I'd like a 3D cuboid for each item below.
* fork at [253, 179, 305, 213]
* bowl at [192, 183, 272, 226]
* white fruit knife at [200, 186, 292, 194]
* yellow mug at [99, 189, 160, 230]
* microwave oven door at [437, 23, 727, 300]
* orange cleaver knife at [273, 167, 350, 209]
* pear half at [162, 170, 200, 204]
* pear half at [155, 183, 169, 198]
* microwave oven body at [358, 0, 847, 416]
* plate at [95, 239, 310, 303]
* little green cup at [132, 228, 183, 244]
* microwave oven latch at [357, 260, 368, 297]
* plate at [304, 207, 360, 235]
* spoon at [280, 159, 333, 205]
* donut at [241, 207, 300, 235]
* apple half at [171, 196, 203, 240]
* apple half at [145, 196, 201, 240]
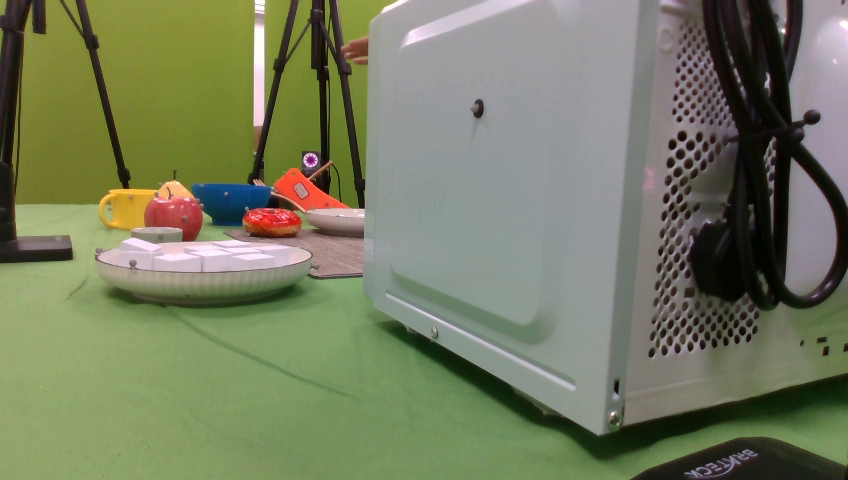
[{"bbox_3d":[-0.294,-0.084,1.293,0.206,0.018,0.028,29,12,26],"label":"fork"},{"bbox_3d":[-0.381,-0.070,1.202,0.151,0.077,0.151,3,7,0],"label":"bowl"},{"bbox_3d":[-0.399,-0.111,1.368,0.208,0.016,0.027,-4,-19,-29],"label":"white fruit knife"},{"bbox_3d":[-0.518,-0.055,1.080,0.099,0.064,0.131,7,10,26],"label":"yellow mug"},{"bbox_3d":[0.181,-0.072,0.621,0.358,0.243,0.039,-2,8,-29],"label":"microwave oven door"},{"bbox_3d":[-0.237,-0.087,1.358,0.211,0.077,0.012,32,4,-3],"label":"orange cleaver knife"},{"bbox_3d":[-0.399,-0.061,1.002,0.056,0.110,0.076,2,11,1],"label":"pear half"},{"bbox_3d":[-0.435,-0.053,1.006,0.031,0.088,0.070,4,12,0],"label":"pear half"},{"bbox_3d":[0.211,-0.047,0.475,0.444,0.260,0.324,-1,8,-28],"label":"microwave oven body"},{"bbox_3d":[-0.224,0.031,0.629,0.208,0.039,0.207,2,7,0],"label":"plate"},{"bbox_3d":[-0.342,0.006,0.779,0.061,0.038,0.061,2,8,0],"label":"little green cup"},{"bbox_3d":[-0.019,0.033,0.531,0.079,0.029,0.030,-1,7,-27],"label":"microwave oven latch"},{"bbox_3d":[-0.123,-0.037,1.149,0.209,0.038,0.209,2,7,0],"label":"plate"},{"bbox_3d":[-0.316,-0.159,1.639,0.194,0.022,0.041,-49,32,-20],"label":"spoon"},{"bbox_3d":[-0.263,-0.031,1.039,0.099,0.048,0.099,5,9,0],"label":"donut"},{"bbox_3d":[-0.365,-0.033,0.928,0.081,0.081,0.033,5,12,18],"label":"apple half"},{"bbox_3d":[-0.377,-0.027,0.892,0.080,0.074,0.053,8,12,18],"label":"apple half"}]
